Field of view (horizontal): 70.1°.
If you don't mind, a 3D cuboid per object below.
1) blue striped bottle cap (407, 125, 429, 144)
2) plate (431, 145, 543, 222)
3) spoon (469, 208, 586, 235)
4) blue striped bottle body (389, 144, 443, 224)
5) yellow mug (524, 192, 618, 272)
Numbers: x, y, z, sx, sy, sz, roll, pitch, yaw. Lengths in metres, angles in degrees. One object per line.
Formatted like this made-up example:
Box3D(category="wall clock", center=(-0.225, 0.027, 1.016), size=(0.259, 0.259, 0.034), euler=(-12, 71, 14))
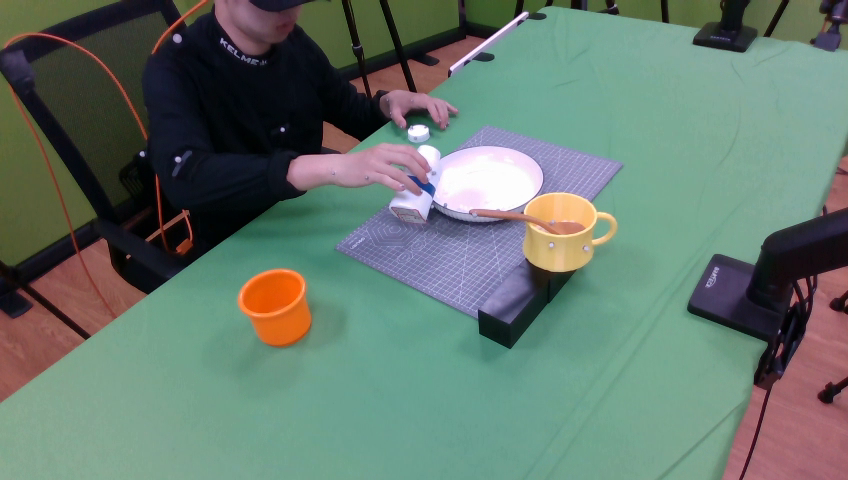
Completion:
Box3D(category="blue striped bottle cap", center=(-0.012, -0.214, 1.227), size=(0.044, 0.021, 0.044), euler=(-4, 37, 4))
Box3D(category="plate", center=(0.101, -0.094, 1.048), size=(0.207, 0.039, 0.206), euler=(-4, 41, 4))
Box3D(category="spoon", center=(0.143, -0.026, 0.817), size=(0.195, 0.021, 0.041), euler=(12, 35, -29))
Box3D(category="blue striped bottle body", center=(-0.009, -0.092, 0.966), size=(0.063, 0.063, 0.120), euler=(11, 69, 21))
Box3D(category="yellow mug", center=(0.206, -0.013, 0.845), size=(0.131, 0.064, 0.099), euler=(-4, 40, 2))
